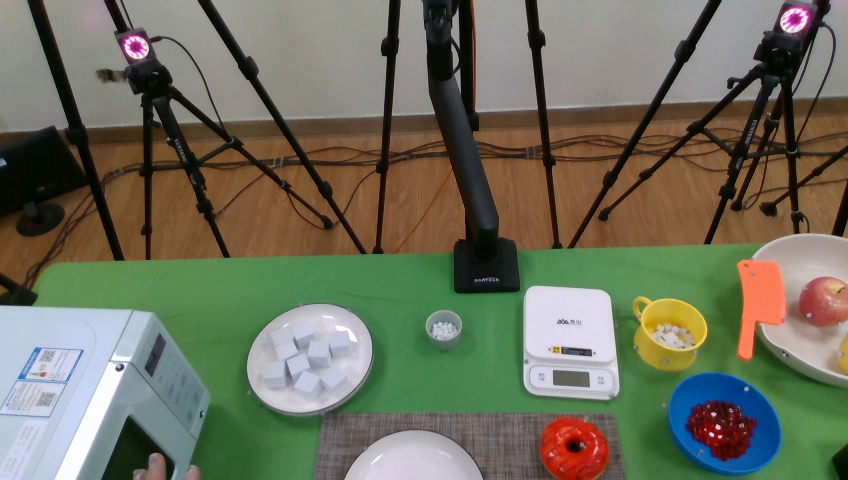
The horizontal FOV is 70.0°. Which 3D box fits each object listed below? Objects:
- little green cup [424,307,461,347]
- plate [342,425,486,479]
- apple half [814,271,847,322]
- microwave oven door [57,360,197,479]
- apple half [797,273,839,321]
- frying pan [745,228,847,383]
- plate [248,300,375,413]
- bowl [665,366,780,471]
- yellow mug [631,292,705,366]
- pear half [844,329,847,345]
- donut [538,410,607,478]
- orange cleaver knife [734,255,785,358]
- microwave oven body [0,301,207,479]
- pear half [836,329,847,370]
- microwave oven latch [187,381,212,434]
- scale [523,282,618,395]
[{"bbox_3d":[0.033,0.149,1.026,0.061,0.039,0.061,-2,49,3],"label":"little green cup"},{"bbox_3d":[-0.015,0.361,0.842,0.209,0.038,0.207,-2,50,3],"label":"plate"},{"bbox_3d":[0.671,0.093,0.994,0.053,0.075,0.080,-6,45,-5],"label":"apple half"},{"bbox_3d":[-0.380,0.356,0.721,0.039,0.246,0.352,1,49,5],"label":"microwave oven door"},{"bbox_3d":[0.633,0.098,0.991,0.033,0.082,0.080,-6,49,-5],"label":"apple half"},{"bbox_3d":[0.707,0.167,0.913,0.307,0.104,0.482,-22,43,-13],"label":"frying pan"},{"bbox_3d":[-0.183,0.194,1.005,0.207,0.039,0.205,-2,49,3],"label":"plate"},{"bbox_3d":[0.416,0.266,0.869,0.151,0.077,0.150,-2,50,3],"label":"bowl"},{"bbox_3d":[0.387,0.136,0.991,0.100,0.064,0.129,-27,51,-16],"label":"yellow mug"},{"bbox_3d":[0.694,0.149,0.933,0.070,0.089,0.031,27,59,28],"label":"pear half"},{"bbox_3d":[0.214,0.294,0.878,0.099,0.049,0.098,-3,50,4],"label":"donut"},{"bbox_3d":[0.530,0.100,0.961,0.077,0.012,0.210,13,52,16],"label":"orange cleaver knife"},{"bbox_3d":[-0.522,0.326,0.765,0.326,0.262,0.437,1,50,5],"label":"microwave oven body"},{"bbox_3d":[0.669,0.163,0.910,0.075,0.111,0.056,28,57,30],"label":"pear half"},{"bbox_3d":[-0.354,0.257,0.939,0.030,0.030,0.078,2,50,6],"label":"microwave oven latch"},{"bbox_3d":[0.240,0.159,1.006,0.148,0.032,0.199,2,50,7],"label":"scale"}]
